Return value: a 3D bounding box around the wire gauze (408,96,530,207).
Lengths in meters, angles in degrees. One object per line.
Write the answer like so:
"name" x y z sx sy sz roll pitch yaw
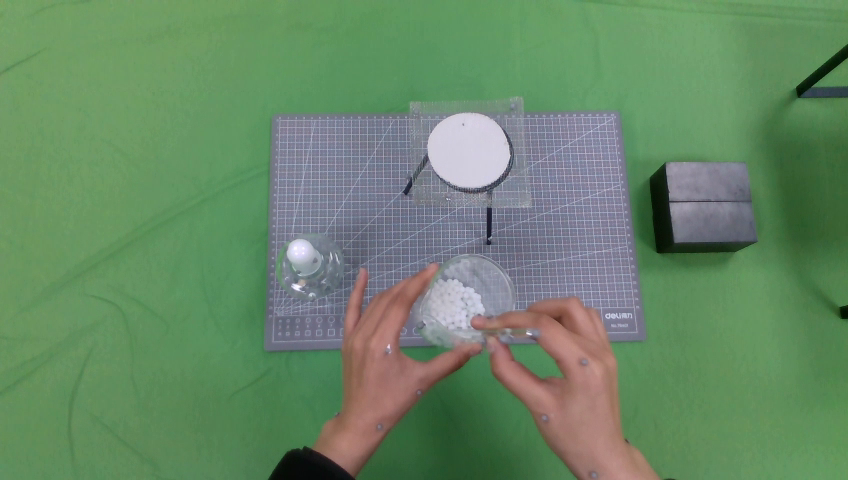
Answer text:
"wire gauze" 0.046 -0.093 0.629 0.125 0.011 0.121 0 76 -3

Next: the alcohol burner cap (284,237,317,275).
"alcohol burner cap" -0.131 0.015 0.636 0.034 0.048 0.033 1 70 -2

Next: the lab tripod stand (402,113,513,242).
"lab tripod stand" 0.047 -0.080 0.695 0.148 0.132 0.147 0 74 -1

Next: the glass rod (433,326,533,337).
"glass rod" 0.038 0.074 0.478 0.008 0.199 0.008 3 80 -17

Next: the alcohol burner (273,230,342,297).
"alcohol burner" -0.131 0.023 0.671 0.078 0.119 0.077 1 77 -3

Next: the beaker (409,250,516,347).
"beaker" 0.026 0.058 0.539 0.084 0.100 0.073 -14 79 -15
